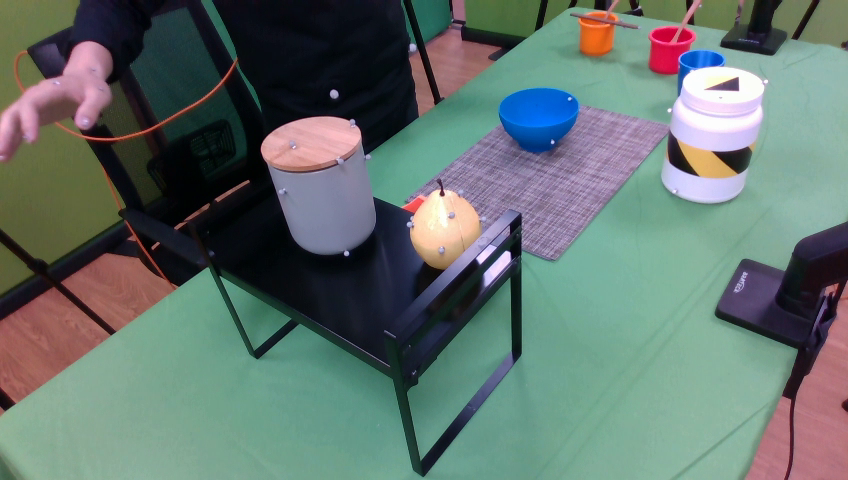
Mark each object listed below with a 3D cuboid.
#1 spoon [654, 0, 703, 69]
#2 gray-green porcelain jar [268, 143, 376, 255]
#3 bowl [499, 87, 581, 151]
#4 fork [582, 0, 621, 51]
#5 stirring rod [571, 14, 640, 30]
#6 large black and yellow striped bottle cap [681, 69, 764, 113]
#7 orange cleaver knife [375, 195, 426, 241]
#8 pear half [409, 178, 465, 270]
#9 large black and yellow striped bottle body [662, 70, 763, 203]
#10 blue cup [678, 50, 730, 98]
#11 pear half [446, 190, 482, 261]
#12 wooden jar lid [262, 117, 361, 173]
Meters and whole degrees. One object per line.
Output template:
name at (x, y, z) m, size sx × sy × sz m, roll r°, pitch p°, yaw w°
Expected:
spoon at (0.569, -0.462, 1.335) m, size 0.041 × 0.022 × 0.193 m, roll 34°, pitch 99°, yaw 37°
gray-green porcelain jar at (-0.114, -0.055, 0.704) m, size 0.106 × 0.127 × 0.105 m, roll -4°, pitch 40°, yaw 4°
bowl at (0.220, -0.223, 1.156) m, size 0.151 × 0.077 × 0.150 m, roll -5°, pitch 40°, yaw 4°
fork at (0.446, -0.539, 1.438) m, size 0.207 × 0.019 × 0.028 m, roll -57°, pitch 36°, yaw 12°
stirring rod at (0.418, -0.508, 1.404) m, size 0.174 × 0.006 × 0.014 m, roll 28°, pitch 54°, yaw 35°
large black and yellow striped bottle cap at (0.453, -0.229, 0.921) m, size 0.115 × 0.019 × 0.114 m, roll -4°, pitch 39°, yaw 4°
orange cleaver knife at (-0.037, -0.029, 0.973) m, size 0.210 × 0.077 × 0.012 m, roll -8°, pitch 33°, yaw 50°
pear half at (0.010, -0.019, 0.654) m, size 0.056 × 0.110 × 0.076 m, roll -17°, pitch 37°, yaw -9°
large black and yellow striped bottle body at (0.464, -0.166, 0.976) m, size 0.131 × 0.185 × 0.130 m, roll -5°, pitch 41°, yaw 5°
blue cup at (0.542, -0.310, 1.194) m, size 0.092 × 0.101 × 0.092 m, roll -6°, pitch 41°, yaw 6°
pear half at (0.046, -0.020, 0.665) m, size 0.031 × 0.088 × 0.070 m, roll -17°, pitch 38°, yaw -8°
wooden jar lid at (-0.122, -0.101, 0.663) m, size 0.108 × 0.021 × 0.108 m, roll -3°, pitch 39°, yaw 3°
